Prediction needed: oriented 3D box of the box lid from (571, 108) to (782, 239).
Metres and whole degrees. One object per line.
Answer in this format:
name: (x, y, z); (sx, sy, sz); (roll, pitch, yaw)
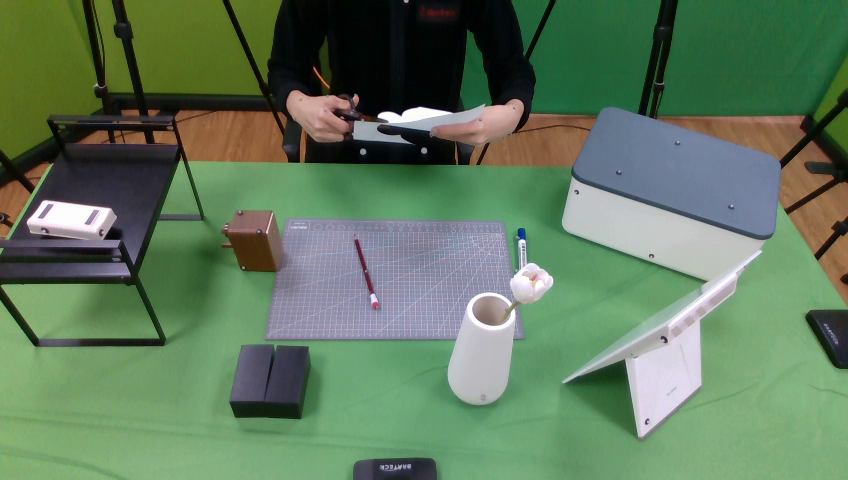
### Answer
box lid: (0.491, -0.139, 1.168); (0.370, 0.015, 0.262); (21, 49, 15)

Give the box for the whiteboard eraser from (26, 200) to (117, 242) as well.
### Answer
whiteboard eraser: (-0.532, -0.026, 0.919); (0.113, 0.042, 0.055); (7, 45, 3)

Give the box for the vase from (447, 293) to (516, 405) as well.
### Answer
vase: (0.091, 0.169, 0.921); (0.098, 0.201, 0.097); (3, 47, -3)

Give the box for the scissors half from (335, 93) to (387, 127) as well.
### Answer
scissors half: (-0.110, -0.220, 1.045); (0.013, 0.040, 0.174); (-15, 34, -32)

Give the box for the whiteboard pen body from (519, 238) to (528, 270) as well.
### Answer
whiteboard pen body: (0.193, 0.035, 1.180); (0.017, 0.017, 0.140); (6, 48, 1)

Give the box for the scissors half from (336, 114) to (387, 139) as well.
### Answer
scissors half: (-0.110, -0.199, 1.051); (0.013, 0.040, 0.174); (-9, 8, -34)

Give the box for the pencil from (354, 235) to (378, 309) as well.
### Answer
pencil: (-0.112, 0.055, 1.143); (0.012, 0.012, 0.192); (-10, 46, -13)

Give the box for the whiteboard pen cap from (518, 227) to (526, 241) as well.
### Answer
whiteboard pen cap: (0.197, -0.009, 1.220); (0.018, 0.018, 0.033); (5, 51, 1)

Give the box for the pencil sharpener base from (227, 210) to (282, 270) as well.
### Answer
pencil sharpener base: (-0.311, 0.001, 1.112); (0.077, 0.107, 0.061); (1, 47, 1)

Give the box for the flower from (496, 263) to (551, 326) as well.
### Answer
flower: (0.102, 0.121, 0.853); (0.044, 0.363, 0.038); (-2, 64, -10)

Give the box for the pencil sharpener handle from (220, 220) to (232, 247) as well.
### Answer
pencil sharpener handle: (-0.362, -0.009, 1.105); (0.030, 0.068, 0.036); (1, 52, 1)

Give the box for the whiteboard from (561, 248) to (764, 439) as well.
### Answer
whiteboard: (0.386, 0.176, 0.905); (0.217, 0.306, 0.143); (-26, 72, -27)

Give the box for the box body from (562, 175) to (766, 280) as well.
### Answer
box body: (0.486, -0.088, 1.222); (0.363, 0.161, 0.253); (20, 48, 15)
